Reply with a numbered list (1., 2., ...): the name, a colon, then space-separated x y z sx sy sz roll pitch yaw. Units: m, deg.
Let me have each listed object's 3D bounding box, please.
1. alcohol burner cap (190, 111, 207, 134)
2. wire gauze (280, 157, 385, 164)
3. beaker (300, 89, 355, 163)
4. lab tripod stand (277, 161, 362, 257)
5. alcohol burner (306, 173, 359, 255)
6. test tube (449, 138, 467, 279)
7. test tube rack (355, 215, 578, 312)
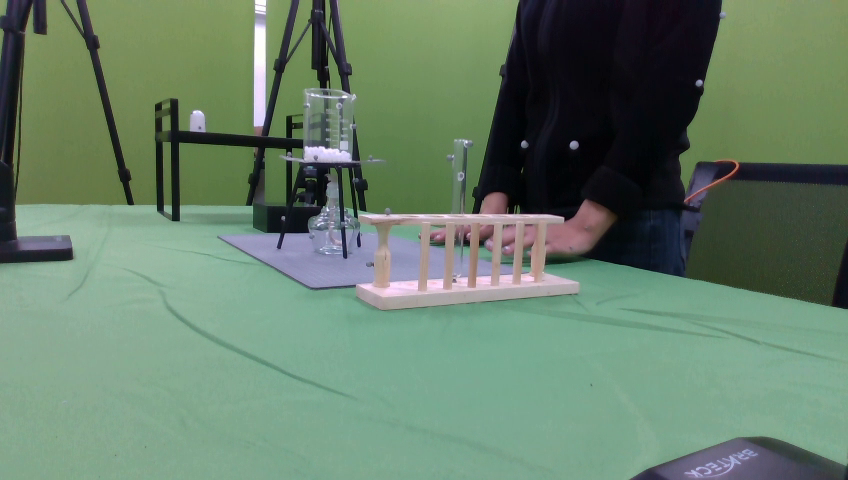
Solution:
1. alcohol burner cap: -0.469 -0.244 1.257 0.034 0.048 0.034 1 6 0
2. wire gauze: -0.134 -0.113 0.875 0.122 0.011 0.124 -1 6 -30
3. beaker: -0.136 -0.161 0.867 0.083 0.100 0.074 5 8 24
4. lab tripod stand: -0.143 -0.049 0.884 0.148 0.131 0.148 2 9 0
5. alcohol burner: -0.133 -0.038 0.883 0.078 0.119 0.078 1 6 0
6. test tube: 0.035 -0.033 0.645 0.017 0.150 0.017 3 4 0
7. test tube rack: 0.053 0.018 0.641 0.243 0.085 0.066 -1 8 -29
